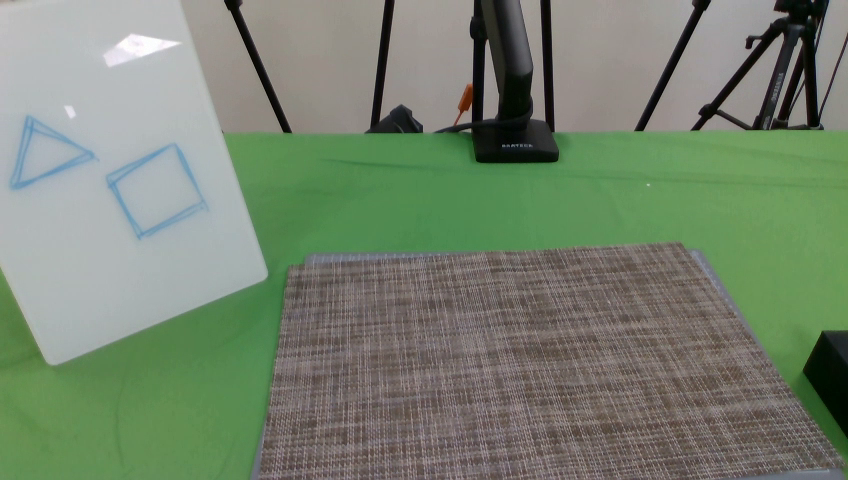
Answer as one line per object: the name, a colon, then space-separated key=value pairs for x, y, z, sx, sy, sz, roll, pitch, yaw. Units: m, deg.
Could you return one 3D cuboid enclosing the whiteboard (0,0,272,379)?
whiteboard: x=-0.318 y=-0.063 z=0.604 sx=0.217 sy=0.307 sz=0.142 roll=-24 pitch=22 yaw=-29
